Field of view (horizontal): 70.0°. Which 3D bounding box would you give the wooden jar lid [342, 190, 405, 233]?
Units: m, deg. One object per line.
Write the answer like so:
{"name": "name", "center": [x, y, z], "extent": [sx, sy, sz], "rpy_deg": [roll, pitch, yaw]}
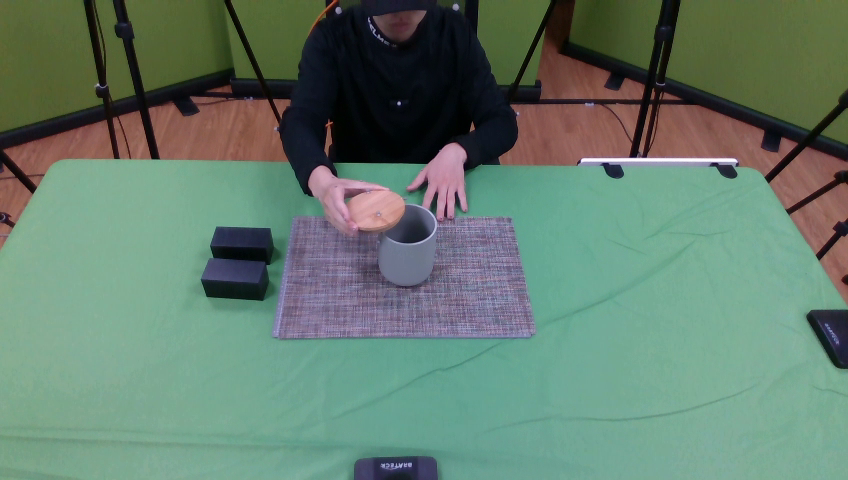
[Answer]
{"name": "wooden jar lid", "center": [-0.086, -0.048, 1.044], "extent": [0.108, 0.021, 0.107], "rpy_deg": [-4, 38, 3]}

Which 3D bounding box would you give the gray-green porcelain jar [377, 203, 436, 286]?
{"name": "gray-green porcelain jar", "center": [-0.033, 0.014, 1.106], "extent": [0.106, 0.127, 0.105], "rpy_deg": [2, 46, -2]}
